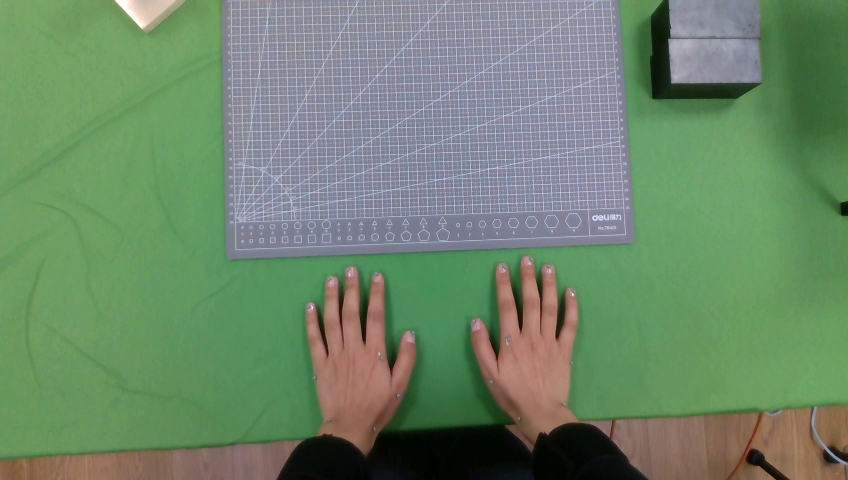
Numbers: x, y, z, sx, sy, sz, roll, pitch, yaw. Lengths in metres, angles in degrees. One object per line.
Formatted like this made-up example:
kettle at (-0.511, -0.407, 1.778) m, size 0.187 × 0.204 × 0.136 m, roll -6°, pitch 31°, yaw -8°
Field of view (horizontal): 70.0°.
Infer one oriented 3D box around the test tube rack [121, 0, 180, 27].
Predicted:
test tube rack at (-0.242, -0.346, 0.644) m, size 0.242 × 0.085 × 0.066 m, roll -43°, pitch 87°, yaw -4°
